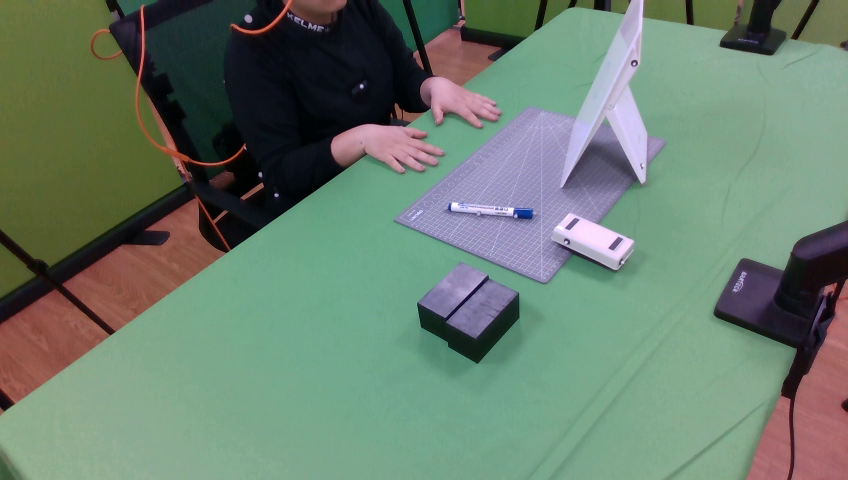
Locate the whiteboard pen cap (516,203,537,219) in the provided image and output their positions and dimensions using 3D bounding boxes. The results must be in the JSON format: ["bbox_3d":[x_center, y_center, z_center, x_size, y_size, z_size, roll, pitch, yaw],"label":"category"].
[{"bbox_3d":[0.170,-0.048,1.004,0.033,0.018,0.018,-22,42,-19],"label":"whiteboard pen cap"}]

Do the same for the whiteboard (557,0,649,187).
[{"bbox_3d":[0.361,-0.238,1.026,0.144,0.306,0.217,21,45,4],"label":"whiteboard"}]

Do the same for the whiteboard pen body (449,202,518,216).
[{"bbox_3d":[0.111,-0.052,1.021,0.140,0.017,0.017,6,42,16],"label":"whiteboard pen body"}]

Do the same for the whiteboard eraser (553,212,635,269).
[{"bbox_3d":[0.257,0.002,0.918,0.112,0.042,0.056,27,50,30],"label":"whiteboard eraser"}]
